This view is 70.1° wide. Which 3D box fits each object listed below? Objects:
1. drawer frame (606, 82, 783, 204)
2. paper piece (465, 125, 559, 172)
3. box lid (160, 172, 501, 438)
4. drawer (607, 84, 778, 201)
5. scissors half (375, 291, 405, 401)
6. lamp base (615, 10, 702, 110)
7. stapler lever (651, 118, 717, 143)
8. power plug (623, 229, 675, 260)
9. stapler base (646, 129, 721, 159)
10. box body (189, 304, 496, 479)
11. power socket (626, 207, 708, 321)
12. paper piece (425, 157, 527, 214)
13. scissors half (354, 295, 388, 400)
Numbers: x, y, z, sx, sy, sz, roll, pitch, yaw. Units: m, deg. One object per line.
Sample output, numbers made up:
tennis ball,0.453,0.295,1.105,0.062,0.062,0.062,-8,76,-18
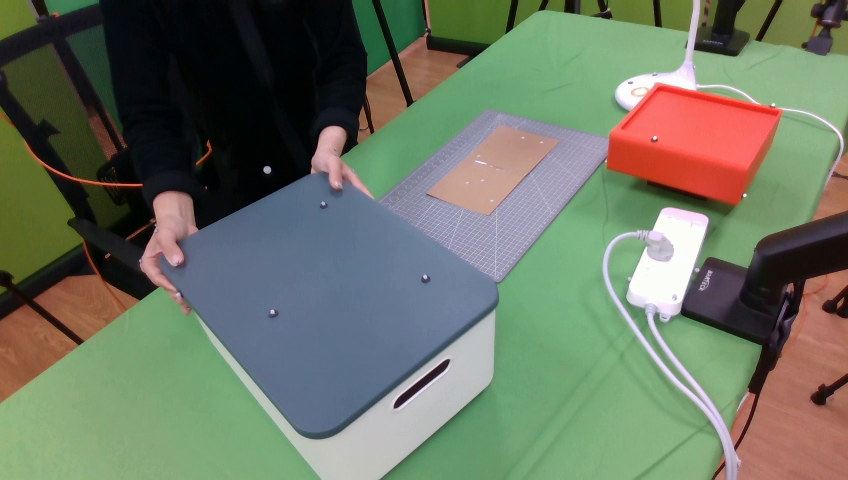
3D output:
drawer frame,0.441,-0.167,0.995,0.212,0.083,0.202,23,48,30
paper piece,0.172,-0.177,1.167,0.137,0.009,0.136,21,44,30
box lid,-0.122,0.042,0.710,0.264,0.015,0.368,-33,48,-28
drawer,0.438,-0.167,0.995,0.210,0.073,0.195,23,48,30
scissors half,-0.048,0.138,0.816,0.040,0.013,0.174,-6,46,10
lamp base,0.484,-0.364,1.211,0.180,0.181,0.159,-15,41,-14
stapler lever,0.435,-0.192,1.014,0.118,0.040,0.026,-15,24,-16
power plug,0.327,0.007,0.878,0.072,0.053,0.035,25,51,32
stapler base,0.438,-0.167,1.023,0.131,0.024,0.041,-17,24,-15
box body,-0.112,0.102,0.762,0.255,0.161,0.361,-34,47,-27
power socket,0.360,0.026,0.886,0.072,0.033,0.227,16,46,26
paper piece,0.095,-0.103,1.089,0.134,0.004,0.136,22,48,30
scissors half,-0.068,0.143,0.818,0.040,0.013,0.174,-21,44,2
